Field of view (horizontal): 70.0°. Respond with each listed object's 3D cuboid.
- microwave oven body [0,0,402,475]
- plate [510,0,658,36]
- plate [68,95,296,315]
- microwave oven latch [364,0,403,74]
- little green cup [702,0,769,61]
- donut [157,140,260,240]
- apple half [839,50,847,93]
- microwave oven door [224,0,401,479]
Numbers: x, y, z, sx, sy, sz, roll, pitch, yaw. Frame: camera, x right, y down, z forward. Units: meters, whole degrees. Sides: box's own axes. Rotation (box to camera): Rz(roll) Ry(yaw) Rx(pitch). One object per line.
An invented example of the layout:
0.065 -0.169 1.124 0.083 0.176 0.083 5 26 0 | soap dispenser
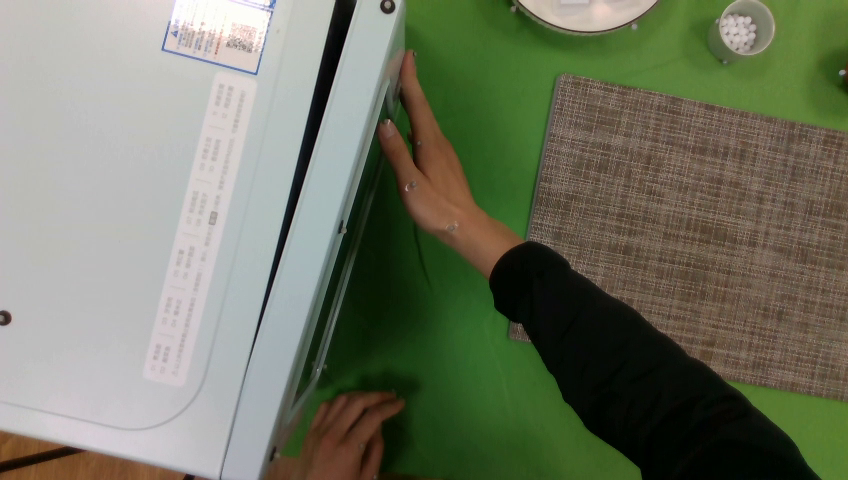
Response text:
-0.225 -0.080 0.532 0.326 0.260 0.441 14 91 -3 | microwave oven body
0.171 -0.323 0.660 0.208 0.039 0.207 0 91 -2 | plate
-0.228 -0.033 0.584 0.209 0.038 0.209 0 91 -4 | plate
-0.043 -0.217 0.634 0.030 0.029 0.079 16 91 -3 | microwave oven latch
0.341 -0.229 0.669 0.061 0.038 0.061 0 90 -2 | little green cup
-0.205 -0.047 0.580 0.099 0.048 0.099 2 112 6 | donut
0.487 -0.190 0.659 0.053 0.074 0.081 3 94 3 | apple half
-0.086 -0.001 0.534 0.039 0.243 0.355 16 90 -2 | microwave oven door
